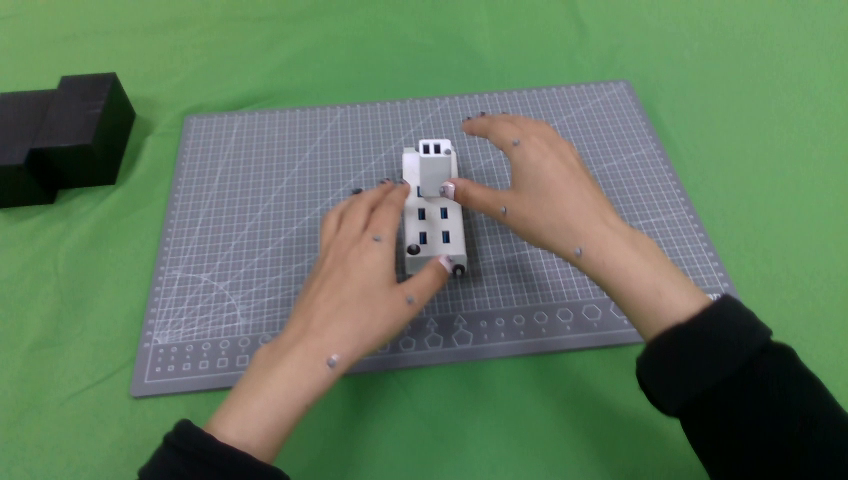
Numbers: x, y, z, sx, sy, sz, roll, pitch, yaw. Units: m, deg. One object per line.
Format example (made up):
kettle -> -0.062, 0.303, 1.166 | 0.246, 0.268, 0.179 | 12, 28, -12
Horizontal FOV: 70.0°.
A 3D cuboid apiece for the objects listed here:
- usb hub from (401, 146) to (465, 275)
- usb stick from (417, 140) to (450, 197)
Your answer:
usb hub -> 0.006, -0.028, 0.509 | 0.049, 0.025, 0.124 | -2, 51, 0
usb stick -> 0.008, -0.052, 0.491 | 0.027, 0.060, 0.021 | -5, 51, 1
